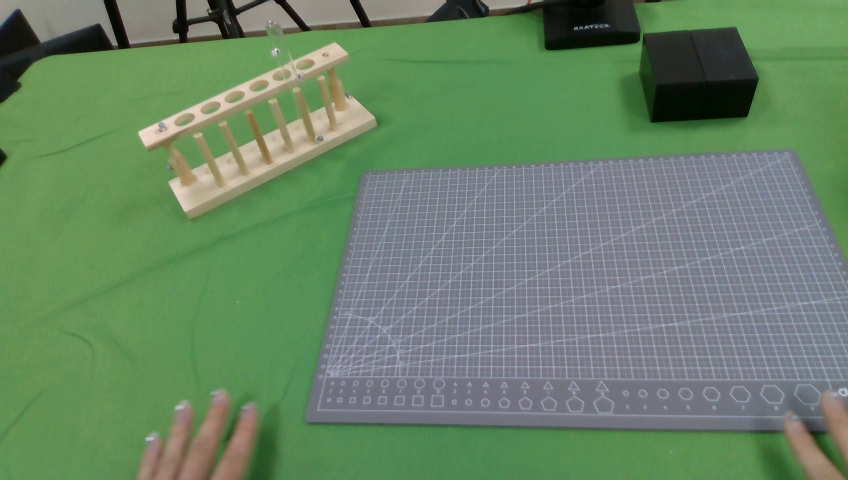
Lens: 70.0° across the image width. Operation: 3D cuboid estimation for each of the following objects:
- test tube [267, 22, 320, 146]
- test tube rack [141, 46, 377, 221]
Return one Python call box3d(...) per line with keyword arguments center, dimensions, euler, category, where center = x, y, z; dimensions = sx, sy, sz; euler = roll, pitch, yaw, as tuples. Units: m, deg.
box3d(center=(-0.141, -0.166, 0.661), dimensions=(0.017, 0.152, 0.017), euler=(-6, 46, 6), category="test tube")
box3d(center=(-0.181, -0.125, 0.693), dimensions=(0.242, 0.086, 0.066), euler=(-30, 50, -16), category="test tube rack")
